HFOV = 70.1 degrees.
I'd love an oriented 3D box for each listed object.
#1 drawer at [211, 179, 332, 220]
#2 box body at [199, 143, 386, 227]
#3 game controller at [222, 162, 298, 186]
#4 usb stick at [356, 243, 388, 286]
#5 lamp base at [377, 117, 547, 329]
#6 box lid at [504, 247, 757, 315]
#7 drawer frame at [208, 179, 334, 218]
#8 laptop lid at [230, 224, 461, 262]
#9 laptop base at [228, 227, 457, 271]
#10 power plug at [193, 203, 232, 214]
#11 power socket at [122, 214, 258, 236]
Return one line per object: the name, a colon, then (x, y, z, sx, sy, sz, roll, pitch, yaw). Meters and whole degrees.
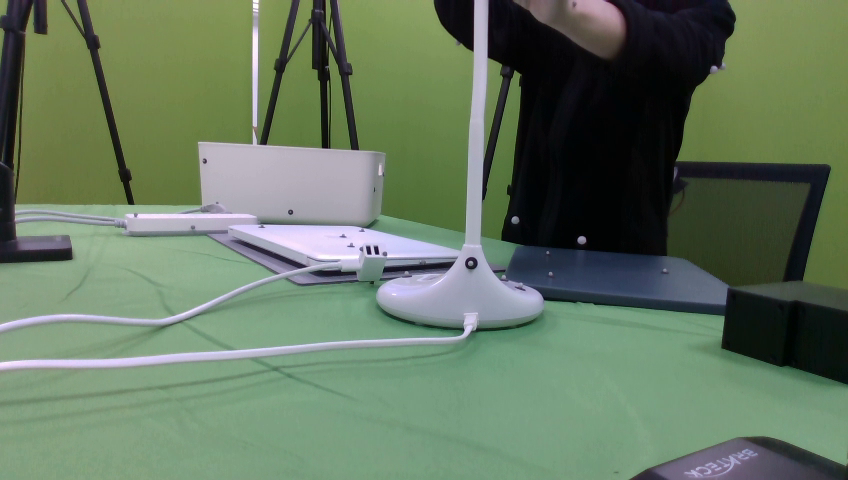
drawer: (-0.328, -0.095, 1.332, 0.212, 0.073, 0.194, 5, 8, 6)
box body: (-0.276, -0.124, 1.334, 0.364, 0.160, 0.254, 3, 7, 1)
game controller: (-0.357, -0.143, 1.322, 0.156, 0.051, 0.097, 1, 2, -16)
usb stick: (-0.058, 0.029, 0.658, 0.027, 0.059, 0.021, -5, 52, -18)
lamp base: (0.041, -0.019, 0.551, 0.161, 0.180, 0.179, 1, 10, -10)
box lid: (0.244, 0.044, 0.793, 0.263, 0.015, 0.372, 4, 7, 11)
drawer frame: (-0.327, -0.093, 1.328, 0.213, 0.082, 0.202, 0, 5, 6)
laptop lid: (-0.120, 0.000, 0.889, 0.243, 0.013, 0.355, 1, 7, -33)
laptop base: (-0.122, 0.011, 0.889, 0.237, 0.023, 0.352, 2, 6, -35)
power plug: (-0.394, -0.042, 1.139, 0.072, 0.052, 0.035, -14, 1, 31)
power socket: (-0.398, -0.028, 1.049, 0.228, 0.032, 0.072, -3, 8, -34)
